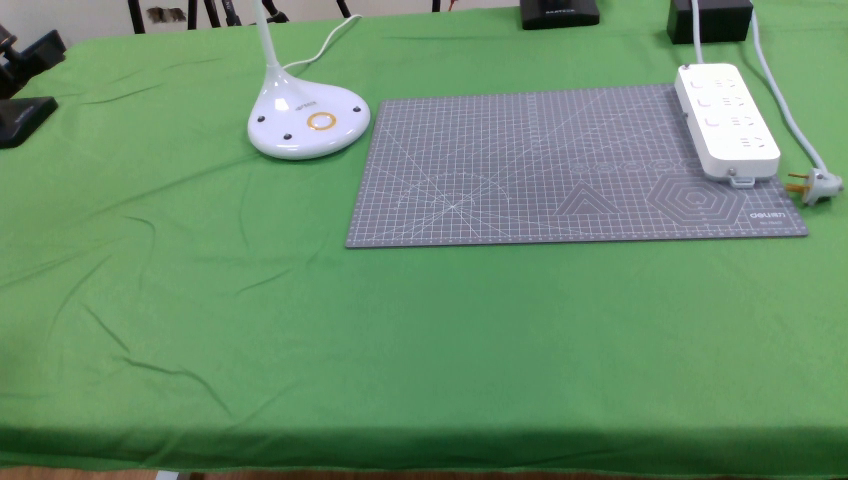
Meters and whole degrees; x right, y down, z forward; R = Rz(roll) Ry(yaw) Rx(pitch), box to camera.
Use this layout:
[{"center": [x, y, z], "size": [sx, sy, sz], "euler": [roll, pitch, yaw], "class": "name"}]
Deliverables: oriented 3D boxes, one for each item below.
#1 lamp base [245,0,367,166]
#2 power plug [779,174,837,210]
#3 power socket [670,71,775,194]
[{"center": [-0.172, -0.209, 0.752], "size": [0.177, 0.182, 0.160], "euler": [28, 52, 36], "class": "lamp base"}, {"center": [0.385, -0.049, 0.616], "size": [0.052, 0.035, 0.072], "euler": [12, 10, 15], "class": "power plug"}, {"center": [0.338, -0.134, 0.699], "size": [0.072, 0.033, 0.224], "euler": [1, 42, 9], "class": "power socket"}]
